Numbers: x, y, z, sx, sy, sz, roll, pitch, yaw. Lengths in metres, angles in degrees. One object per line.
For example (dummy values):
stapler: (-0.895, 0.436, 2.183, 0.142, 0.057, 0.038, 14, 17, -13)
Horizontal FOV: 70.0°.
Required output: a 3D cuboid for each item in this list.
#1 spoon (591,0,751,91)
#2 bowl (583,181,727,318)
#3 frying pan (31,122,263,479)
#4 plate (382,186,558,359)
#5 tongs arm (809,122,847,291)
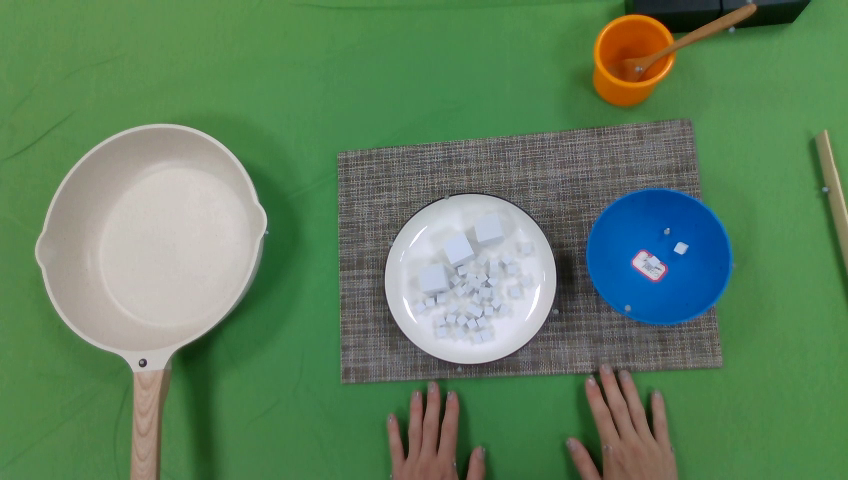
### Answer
spoon: (0.275, -0.222, 0.693, 0.022, 0.193, 0.041, -4, 80, -37)
bowl: (0.253, 0.016, 0.687, 0.151, 0.077, 0.151, -1, 80, 7)
frying pan: (-0.334, 0.095, 0.744, 0.306, 0.103, 0.484, -7, 71, 7)
plate: (0.055, 0.039, 0.731, 0.207, 0.039, 0.207, -1, 80, 8)
tongs arm: (0.494, 0.050, 0.680, 0.028, 0.028, 0.385, -10, 80, 4)
